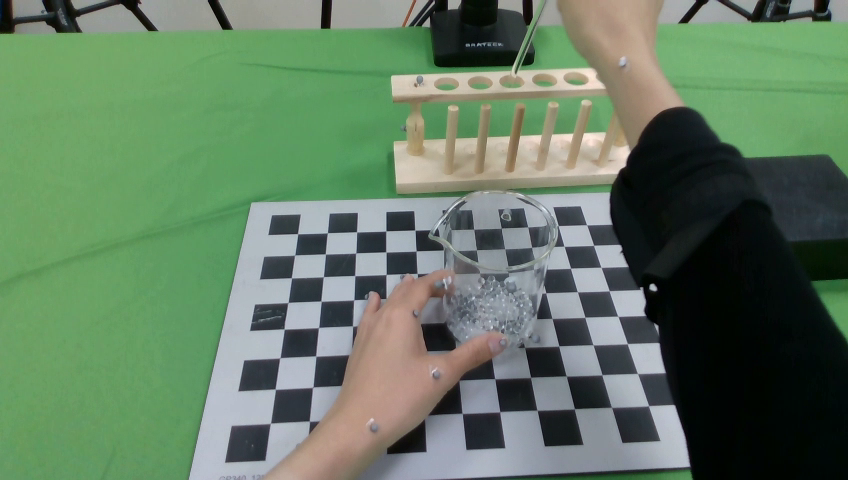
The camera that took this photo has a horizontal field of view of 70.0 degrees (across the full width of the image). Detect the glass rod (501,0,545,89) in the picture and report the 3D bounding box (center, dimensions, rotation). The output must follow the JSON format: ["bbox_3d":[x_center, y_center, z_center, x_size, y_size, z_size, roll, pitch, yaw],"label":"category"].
[{"bbox_3d":[0.093,-0.190,0.481,0.008,0.201,0.008,8,52,-11],"label":"glass rod"}]

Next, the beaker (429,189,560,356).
[{"bbox_3d":[0.045,0.027,0.419,0.084,0.101,0.073,-2,46,-1],"label":"beaker"}]

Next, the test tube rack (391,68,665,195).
[{"bbox_3d":[0.093,-0.100,0.558,0.242,0.086,0.066,-3,46,-4],"label":"test tube rack"}]
